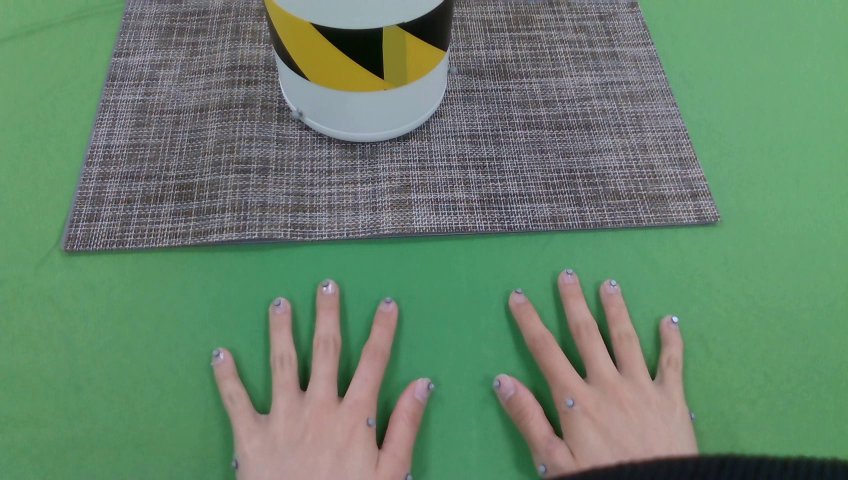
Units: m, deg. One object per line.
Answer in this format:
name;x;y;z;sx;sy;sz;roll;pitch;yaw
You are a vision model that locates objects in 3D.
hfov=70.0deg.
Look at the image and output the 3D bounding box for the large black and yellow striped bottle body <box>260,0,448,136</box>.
large black and yellow striped bottle body;-0.047;-0.175;0.403;0.131;0.185;0.129;2;59;-2
